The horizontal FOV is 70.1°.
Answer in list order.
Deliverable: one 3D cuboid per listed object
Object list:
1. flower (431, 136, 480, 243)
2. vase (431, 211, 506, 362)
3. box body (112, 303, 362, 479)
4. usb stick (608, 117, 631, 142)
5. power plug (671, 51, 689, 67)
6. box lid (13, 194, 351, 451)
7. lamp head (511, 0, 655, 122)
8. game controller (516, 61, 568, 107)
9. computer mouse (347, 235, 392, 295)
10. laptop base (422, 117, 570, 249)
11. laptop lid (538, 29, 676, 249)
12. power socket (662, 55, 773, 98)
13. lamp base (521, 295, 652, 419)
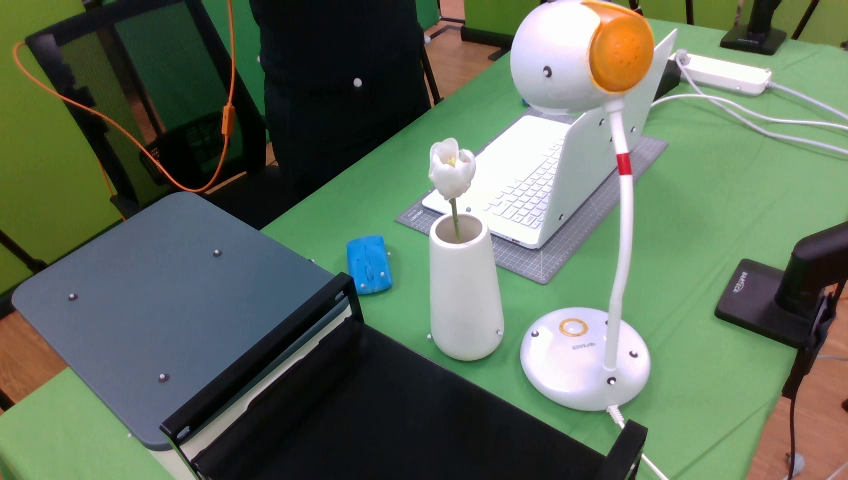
[{"bbox_3d":[0.041,0.011,0.691,0.044,0.363,0.038,16,62,14],"label":"flower"},{"bbox_3d":[0.054,0.062,0.757,0.098,0.201,0.097,-3,40,3],"label":"vase"},{"bbox_3d":[-0.285,0.123,0.766,0.361,0.161,0.255,25,49,33],"label":"box body"},{"bbox_3d":[0.370,-0.207,1.147,0.021,0.027,0.059,27,55,32],"label":"usb stick"},{"bbox_3d":[0.541,-0.378,1.301,0.073,0.053,0.035,-33,46,-23],"label":"power plug"},{"bbox_3d":[-0.292,0.067,0.717,0.368,0.015,0.264,25,50,33],"label":"box lid"},{"bbox_3d":[0.155,-0.168,0.564,0.113,0.113,0.122,-18,23,-12],"label":"lamp head"},{"bbox_3d":[0.259,-0.352,1.336,0.097,0.052,0.154,-3,41,2],"label":"game controller"},{"bbox_3d":[-0.086,0.035,0.936,0.063,0.041,0.116,-8,45,-5],"label":"computer mouse"},{"bbox_3d":[0.192,-0.116,1.087,0.233,0.023,0.355,21,48,34],"label":"laptop base"},{"bbox_3d":[0.288,-0.159,0.939,0.013,0.242,0.358,31,51,24],"label":"laptop lid"},{"bbox_3d":[0.619,-0.352,1.289,0.225,0.033,0.072,26,51,33],"label":"power socket"},{"bbox_3d":[0.200,0.095,0.710,0.161,0.181,0.177,-16,43,-10],"label":"lamp base"}]
